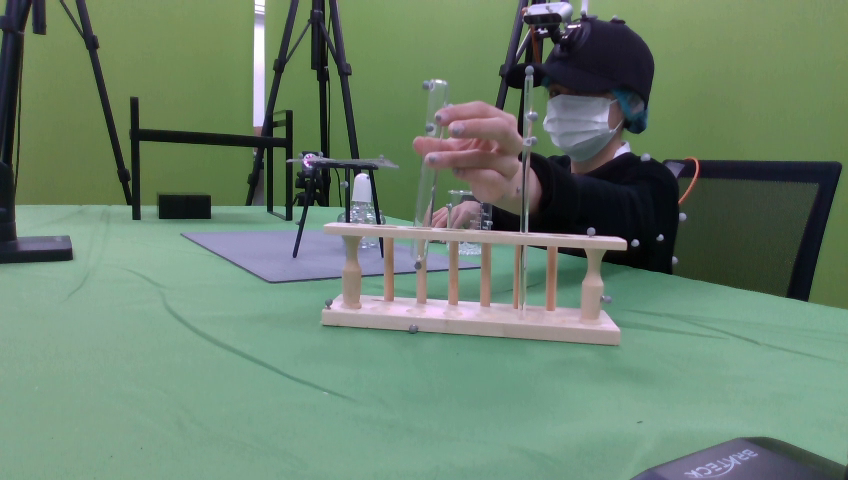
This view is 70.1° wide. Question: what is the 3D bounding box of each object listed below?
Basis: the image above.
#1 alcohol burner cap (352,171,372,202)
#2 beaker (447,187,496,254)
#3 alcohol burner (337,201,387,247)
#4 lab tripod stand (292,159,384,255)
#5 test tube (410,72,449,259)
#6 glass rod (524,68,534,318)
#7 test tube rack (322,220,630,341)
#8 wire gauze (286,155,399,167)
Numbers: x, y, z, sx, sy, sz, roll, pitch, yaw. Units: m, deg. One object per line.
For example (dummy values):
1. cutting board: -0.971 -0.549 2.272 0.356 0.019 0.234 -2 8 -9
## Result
1. alcohol burner cap: -0.096 -0.084 0.951 0.034 0.048 0.034 5 6 0
2. beaker: 0.075 -0.031 0.949 0.074 0.100 0.083 -5 11 -42
3. alcohol burner: -0.098 -0.049 0.954 0.078 0.119 0.078 0 7 0
4. lab tripod stand: -0.105 -0.039 0.797 0.148 0.131 0.148 2 5 0
5. test tube: 0.004 -0.058 0.488 0.017 0.150 0.017 6 11 -1
6. glass rod: 0.082 -0.031 0.473 0.008 0.199 0.008 -2 14 1
7. test tube rack: 0.041 0.029 0.512 0.242 0.085 0.067 3 7 5
8. wire gauze: -0.101 -0.105 0.788 0.121 0.011 0.125 4 6 6
